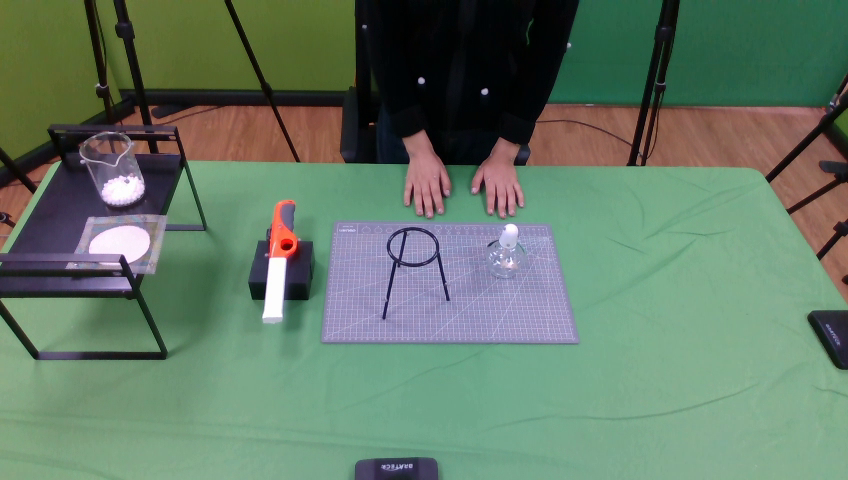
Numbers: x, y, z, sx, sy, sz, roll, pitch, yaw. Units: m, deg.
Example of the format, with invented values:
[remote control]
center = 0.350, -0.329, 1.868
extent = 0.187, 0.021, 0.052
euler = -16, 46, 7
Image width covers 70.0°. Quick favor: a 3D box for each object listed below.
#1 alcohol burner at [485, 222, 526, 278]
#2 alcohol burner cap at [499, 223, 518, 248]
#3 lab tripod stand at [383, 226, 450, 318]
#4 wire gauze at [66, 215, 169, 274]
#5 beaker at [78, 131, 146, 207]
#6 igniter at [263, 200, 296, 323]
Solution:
[alcohol burner]
center = 0.154, 0.014, 1.129
extent = 0.078, 0.119, 0.077
euler = 3, 44, -2
[alcohol burner cap]
center = 0.156, -0.010, 1.102
extent = 0.034, 0.048, 0.033
euler = 1, 53, -1
[lab tripod stand]
center = -0.023, 0.055, 1.062
extent = 0.148, 0.132, 0.147
euler = 2, 48, -2
[wire gauze]
center = -0.460, 0.004, 0.919
extent = 0.125, 0.011, 0.120
euler = 0, 44, -7
[beaker]
center = -0.488, -0.108, 0.961
extent = 0.074, 0.101, 0.083
euler = -25, 54, -25
[igniter]
center = -0.260, 0.027, 1.083
extent = 0.057, 0.025, 0.274
euler = 0, 49, -7
